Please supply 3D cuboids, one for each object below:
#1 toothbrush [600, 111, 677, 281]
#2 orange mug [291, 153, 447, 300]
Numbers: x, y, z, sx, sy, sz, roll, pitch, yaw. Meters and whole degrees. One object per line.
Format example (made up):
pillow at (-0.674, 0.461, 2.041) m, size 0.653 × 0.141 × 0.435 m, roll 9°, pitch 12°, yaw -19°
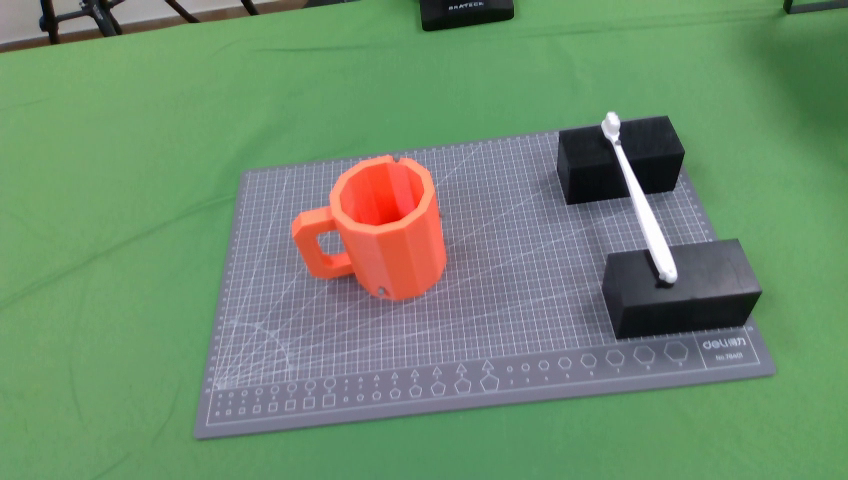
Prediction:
toothbrush at (0.176, -0.043, 0.502) m, size 0.014 × 0.017 × 0.180 m, roll 1°, pitch 53°, yaw -9°
orange mug at (-0.045, -0.007, 0.520) m, size 0.126 × 0.102 × 0.082 m, roll -11°, pitch 52°, yaw -5°
